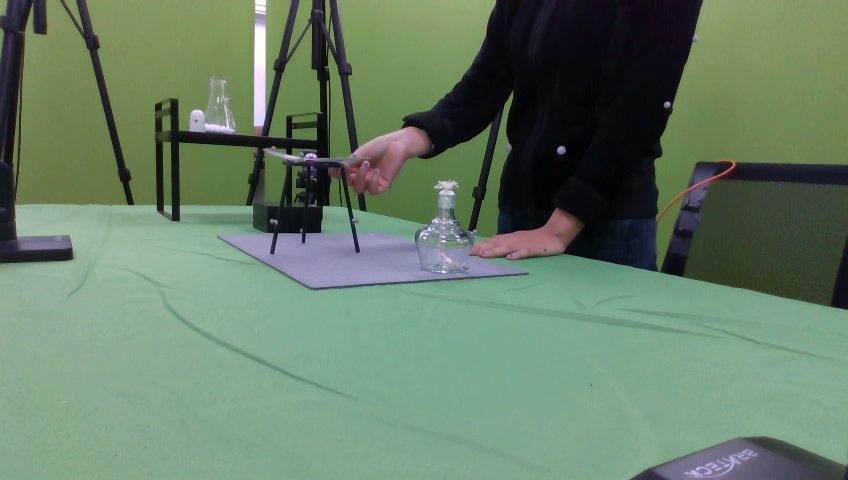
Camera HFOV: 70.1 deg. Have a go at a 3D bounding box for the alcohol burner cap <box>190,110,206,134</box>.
[{"bbox_3d":[-0.464,-0.242,1.240,0.034,0.048,0.034,5,7,0],"label":"alcohol burner cap"}]

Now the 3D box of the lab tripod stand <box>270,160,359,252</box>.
[{"bbox_3d":[-0.167,-0.051,0.892,0.148,0.131,0.148,3,9,0],"label":"lab tripod stand"}]

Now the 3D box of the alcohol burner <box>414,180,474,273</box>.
[{"bbox_3d":[0.027,-0.017,0.773,0.078,0.119,0.078,4,7,0],"label":"alcohol burner"}]

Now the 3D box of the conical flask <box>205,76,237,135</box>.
[{"bbox_3d":[-0.443,-0.290,1.309,0.075,0.122,0.075,3,7,0],"label":"conical flask"}]

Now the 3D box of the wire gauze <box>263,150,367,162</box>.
[{"bbox_3d":[-0.160,-0.120,0.889,0.122,0.011,0.124,0,8,-34],"label":"wire gauze"}]
